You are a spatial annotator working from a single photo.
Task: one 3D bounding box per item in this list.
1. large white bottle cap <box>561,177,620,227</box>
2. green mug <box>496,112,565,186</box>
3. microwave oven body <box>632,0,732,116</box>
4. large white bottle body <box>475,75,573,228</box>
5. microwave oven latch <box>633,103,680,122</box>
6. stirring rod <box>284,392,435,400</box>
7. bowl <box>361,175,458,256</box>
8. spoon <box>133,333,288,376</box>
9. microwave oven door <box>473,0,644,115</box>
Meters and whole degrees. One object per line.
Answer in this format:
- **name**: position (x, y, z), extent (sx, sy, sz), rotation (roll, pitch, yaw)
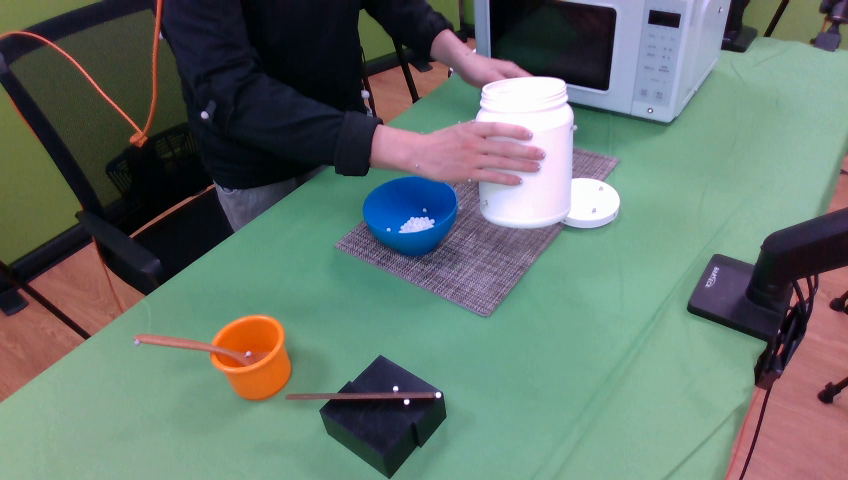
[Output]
- **large white bottle cap**: position (0.264, -0.064, 1.000), extent (0.115, 0.018, 0.114), rotation (-1, 43, 1)
- **green mug**: position (0.185, -0.161, 1.061), extent (0.124, 0.105, 0.092), rotation (15, 46, 24)
- **microwave oven body**: position (0.377, -0.463, 1.267), extent (0.438, 0.261, 0.327), rotation (21, 49, 30)
- **large white bottle body**: position (0.138, -0.123, 0.830), extent (0.130, 0.185, 0.130), rotation (-5, 26, 3)
- **microwave oven latch**: position (0.443, -0.249, 1.157), extent (0.078, 0.029, 0.030), rotation (21, 49, 30)
- **stirring rod**: position (-0.076, 0.180, 0.697), extent (0.176, 0.006, 0.014), rotation (-2, 6, 6)
- **bowl**: position (-0.019, -0.029, 0.955), extent (0.151, 0.077, 0.150), rotation (-4, 40, 3)
- **spoon**: position (-0.257, 0.137, 0.747), extent (0.021, 0.195, 0.041), rotation (-47, 40, 23)
- **microwave oven door**: position (0.257, -0.396, 1.199), extent (0.353, 0.245, 0.039), rotation (21, 48, 29)
